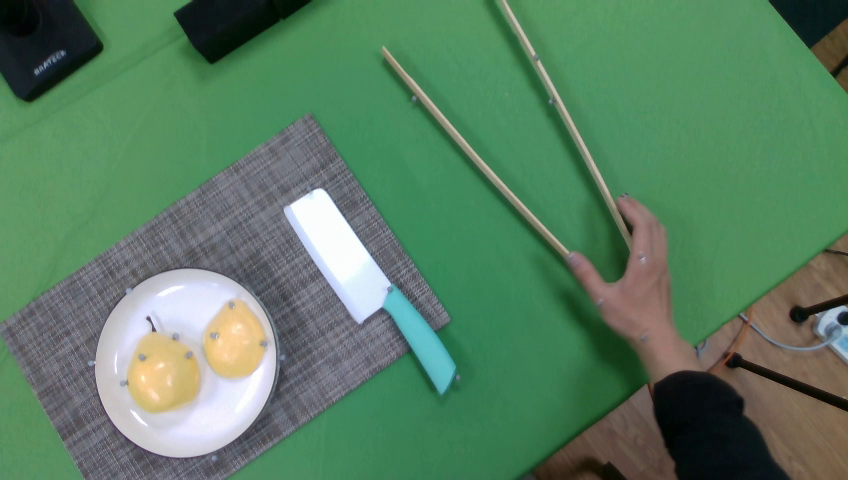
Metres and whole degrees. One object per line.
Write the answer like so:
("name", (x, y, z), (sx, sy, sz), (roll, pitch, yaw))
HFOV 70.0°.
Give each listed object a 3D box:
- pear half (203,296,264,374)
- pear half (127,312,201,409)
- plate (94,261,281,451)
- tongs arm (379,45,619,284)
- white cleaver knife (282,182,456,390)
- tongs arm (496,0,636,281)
("pear half", (-0.217, 0.108, 0.679), (0.070, 0.031, 0.088), (-2, 90, -1))
("pear half", (-0.297, 0.131, 0.672), (0.076, 0.056, 0.109), (-24, 79, -4))
("plate", (-0.261, 0.128, 0.684), (0.207, 0.039, 0.207), (0, 84, 3))
("tongs arm", (0.078, -0.087, 0.700), (0.028, 0.028, 0.386), (-42, 83, -3))
("white cleaver knife", (-0.065, 0.055, 0.697), (0.066, 0.021, 0.285), (-40, 80, 8))
("tongs arm", (0.146, -0.133, 0.696), (0.051, 0.026, 0.383), (-29, 84, 1))
